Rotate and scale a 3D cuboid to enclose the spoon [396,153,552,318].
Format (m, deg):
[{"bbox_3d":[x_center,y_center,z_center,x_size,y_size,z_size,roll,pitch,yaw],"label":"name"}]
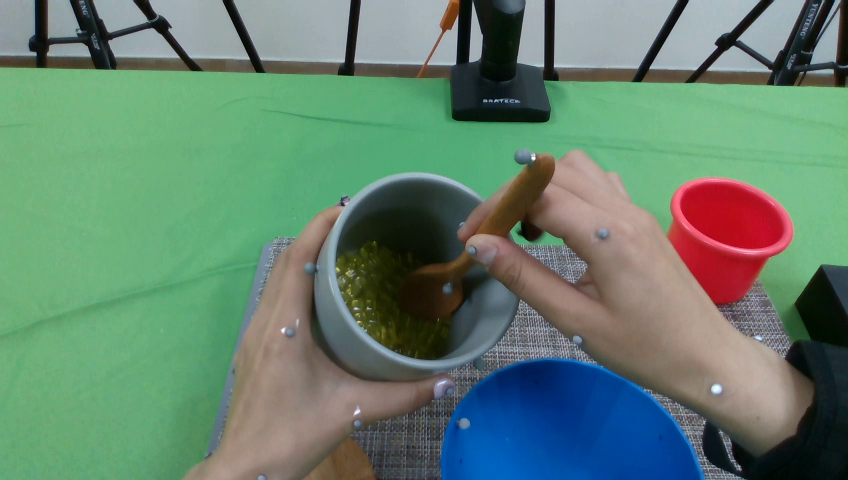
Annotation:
[{"bbox_3d":[0.022,0.008,0.320,0.042,0.194,0.021,23,65,-7],"label":"spoon"}]

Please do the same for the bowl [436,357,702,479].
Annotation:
[{"bbox_3d":[0.081,0.156,0.370,0.151,0.077,0.150,1,45,-1],"label":"bowl"}]

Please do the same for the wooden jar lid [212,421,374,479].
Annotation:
[{"bbox_3d":[-0.085,0.170,0.390,0.108,0.021,0.107,1,44,0],"label":"wooden jar lid"}]

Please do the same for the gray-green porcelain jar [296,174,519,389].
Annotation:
[{"bbox_3d":[-0.019,0.033,0.363,0.106,0.126,0.105,7,70,-18],"label":"gray-green porcelain jar"}]
